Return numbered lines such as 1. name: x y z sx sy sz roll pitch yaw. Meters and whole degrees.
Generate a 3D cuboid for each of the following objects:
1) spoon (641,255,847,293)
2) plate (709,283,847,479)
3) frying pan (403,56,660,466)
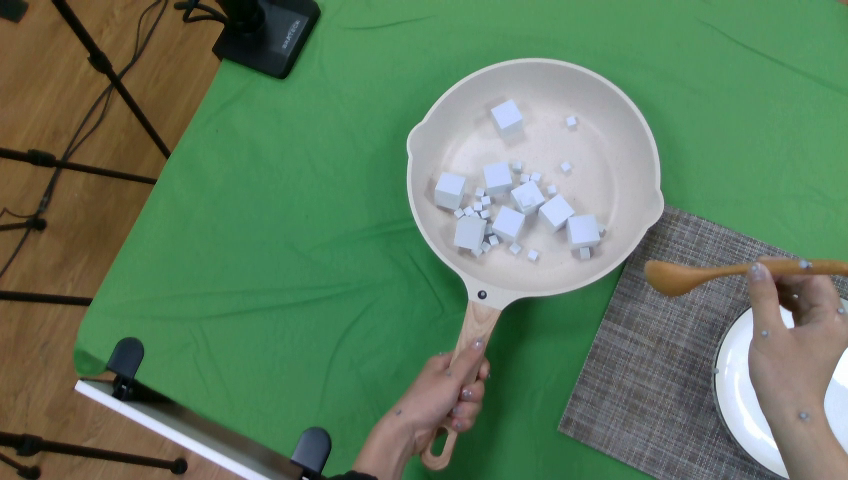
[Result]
1. spoon: 0.262 0.025 0.522 0.021 0.193 0.042 -35 100 -29
2. plate: 0.417 0.152 0.663 0.207 0.039 0.206 -1 77 7
3. frying pan: 0.086 0.016 0.700 0.306 0.103 0.485 19 71 11
